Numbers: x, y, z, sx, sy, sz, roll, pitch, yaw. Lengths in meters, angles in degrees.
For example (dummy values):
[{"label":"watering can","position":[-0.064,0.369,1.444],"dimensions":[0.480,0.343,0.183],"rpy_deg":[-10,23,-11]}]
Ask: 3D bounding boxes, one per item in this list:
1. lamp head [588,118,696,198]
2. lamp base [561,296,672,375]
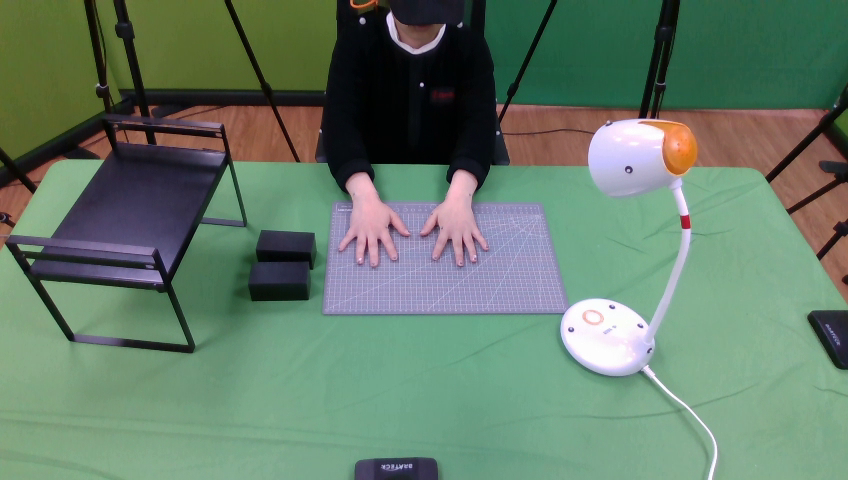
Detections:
[{"label":"lamp head","position":[0.304,-0.113,0.823],"dimensions":[0.112,0.112,0.122],"rpy_deg":[-26,16,-25]},{"label":"lamp base","position":[0.332,0.119,0.996],"dimensions":[0.160,0.181,0.178],"rpy_deg":[-34,59,-31]}]
